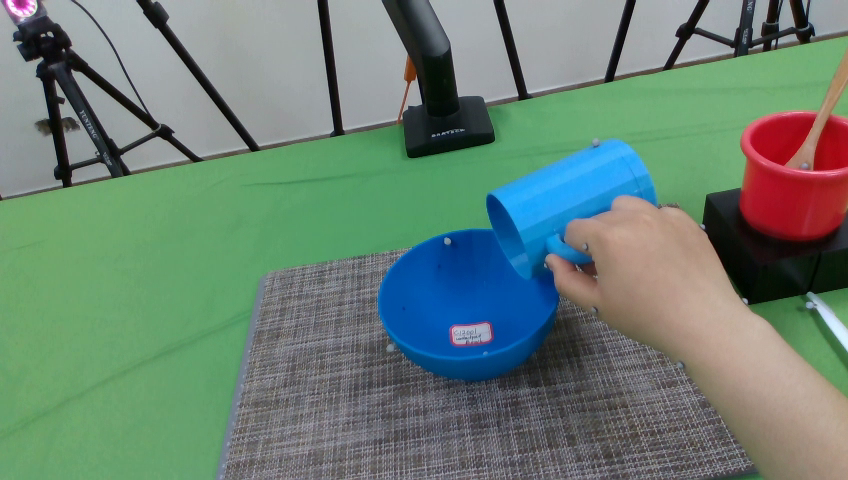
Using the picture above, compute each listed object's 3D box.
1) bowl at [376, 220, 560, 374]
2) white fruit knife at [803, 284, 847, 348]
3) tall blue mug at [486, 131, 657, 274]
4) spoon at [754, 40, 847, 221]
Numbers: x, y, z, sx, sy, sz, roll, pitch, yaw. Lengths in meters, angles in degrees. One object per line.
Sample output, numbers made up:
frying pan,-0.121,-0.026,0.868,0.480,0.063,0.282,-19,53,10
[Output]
bowl,0.041,0.061,0.517,0.151,0.077,0.150,-7,41,7
white fruit knife,0.338,0.103,0.446,0.027,0.016,0.205,11,36,-13
tall blue mug,0.115,-0.030,0.460,0.108,0.078,0.107,-25,1,-6
spoon,0.334,-0.104,0.507,0.041,0.022,0.194,28,99,40
